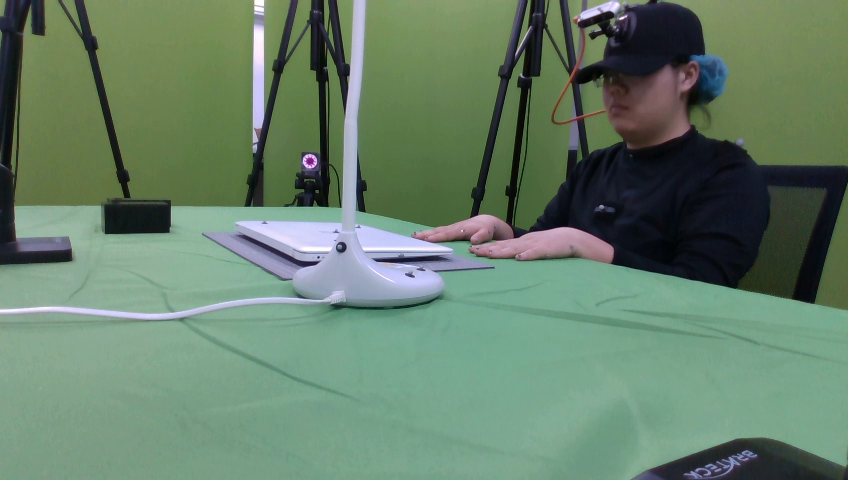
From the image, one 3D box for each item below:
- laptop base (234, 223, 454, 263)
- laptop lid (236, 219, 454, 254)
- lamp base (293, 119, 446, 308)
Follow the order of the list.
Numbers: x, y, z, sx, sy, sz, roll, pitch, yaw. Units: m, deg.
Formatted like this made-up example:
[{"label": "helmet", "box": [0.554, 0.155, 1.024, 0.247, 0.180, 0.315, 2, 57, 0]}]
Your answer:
[{"label": "laptop base", "box": [-0.143, 0.004, 0.957, 0.237, 0.023, 0.352, 2, 7, -32]}, {"label": "laptop lid", "box": [-0.140, -0.008, 0.957, 0.243, 0.013, 0.355, 1, 7, -30]}, {"label": "lamp base", "box": [-0.056, -0.030, 0.616, 0.160, 0.180, 0.179, 4, 10, 8]}]
